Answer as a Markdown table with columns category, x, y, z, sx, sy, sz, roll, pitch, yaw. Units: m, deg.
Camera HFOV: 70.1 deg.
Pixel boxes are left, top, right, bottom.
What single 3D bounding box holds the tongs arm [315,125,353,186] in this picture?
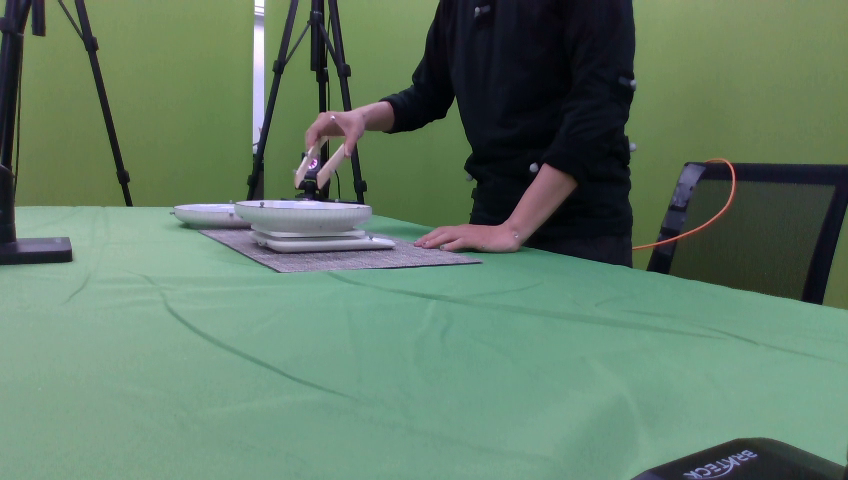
| category | x | y | z | sx | sy | sz | roll | pitch | yaw |
| --- | --- | --- | --- | --- | --- | --- | --- | --- | --- |
| tongs arm | -0.169 | -0.169 | 1.151 | 0.028 | 0.028 | 0.387 | -5 | 22 | 4 |

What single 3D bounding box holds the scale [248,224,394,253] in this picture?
| category | x | y | z | sx | sy | sz | roll | pitch | yaw |
| --- | --- | --- | --- | --- | --- | --- | --- | --- | --- |
| scale | -0.162 | -0.006 | 0.954 | 0.202 | 0.031 | 0.148 | -2 | 8 | -32 |

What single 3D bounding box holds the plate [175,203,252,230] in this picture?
| category | x | y | z | sx | sy | sz | roll | pitch | yaw |
| --- | --- | --- | --- | --- | --- | --- | --- | --- | --- |
| plate | -0.381 | -0.047 | 1.199 | 0.208 | 0.039 | 0.207 | 3 | 7 | 0 |

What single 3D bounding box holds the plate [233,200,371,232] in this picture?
| category | x | y | z | sx | sy | sz | roll | pitch | yaw |
| --- | --- | --- | --- | --- | --- | --- | --- | --- | --- |
| plate | -0.188 | -0.039 | 0.939 | 0.209 | 0.038 | 0.209 | 2 | 7 | 0 |

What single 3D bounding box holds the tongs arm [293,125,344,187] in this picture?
| category | x | y | z | sx | sy | sz | roll | pitch | yaw |
| --- | --- | --- | --- | --- | --- | --- | --- | --- | --- |
| tongs arm | -0.193 | -0.169 | 1.152 | 0.051 | 0.026 | 0.384 | -3 | 22 | -1 |
